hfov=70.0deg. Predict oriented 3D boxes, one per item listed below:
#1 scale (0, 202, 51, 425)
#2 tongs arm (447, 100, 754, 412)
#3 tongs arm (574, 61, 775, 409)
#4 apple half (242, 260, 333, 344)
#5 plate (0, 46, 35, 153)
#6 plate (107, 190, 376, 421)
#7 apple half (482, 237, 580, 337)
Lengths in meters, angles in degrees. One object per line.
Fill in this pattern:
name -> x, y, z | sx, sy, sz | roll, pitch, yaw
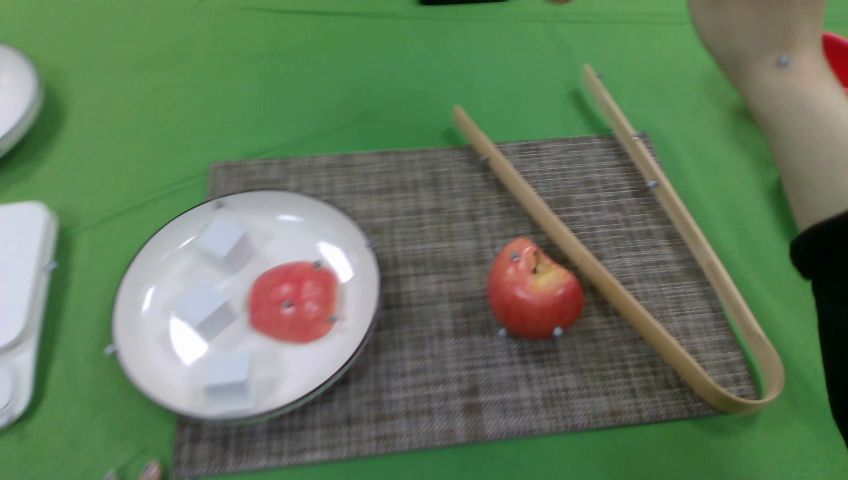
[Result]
scale -> -0.389, 0.061, 0.487 | 0.149, 0.032, 0.199 | -9, 57, -8
tongs arm -> 0.132, -0.003, 0.544 | 0.028, 0.028, 0.384 | -26, 60, -22
tongs arm -> 0.208, -0.031, 0.563 | 0.051, 0.027, 0.380 | -15, 58, -12
apple half -> -0.112, 0.044, 0.493 | 0.081, 0.033, 0.080 | 3, 56, -3
plate -> -0.497, -0.121, 0.605 | 0.208, 0.039, 0.205 | 1, 56, -1
plate -> -0.142, 0.049, 0.494 | 0.209, 0.038, 0.207 | 1, 55, -1
apple half -> 0.077, 0.045, 0.482 | 0.053, 0.075, 0.080 | -40, 69, -20
